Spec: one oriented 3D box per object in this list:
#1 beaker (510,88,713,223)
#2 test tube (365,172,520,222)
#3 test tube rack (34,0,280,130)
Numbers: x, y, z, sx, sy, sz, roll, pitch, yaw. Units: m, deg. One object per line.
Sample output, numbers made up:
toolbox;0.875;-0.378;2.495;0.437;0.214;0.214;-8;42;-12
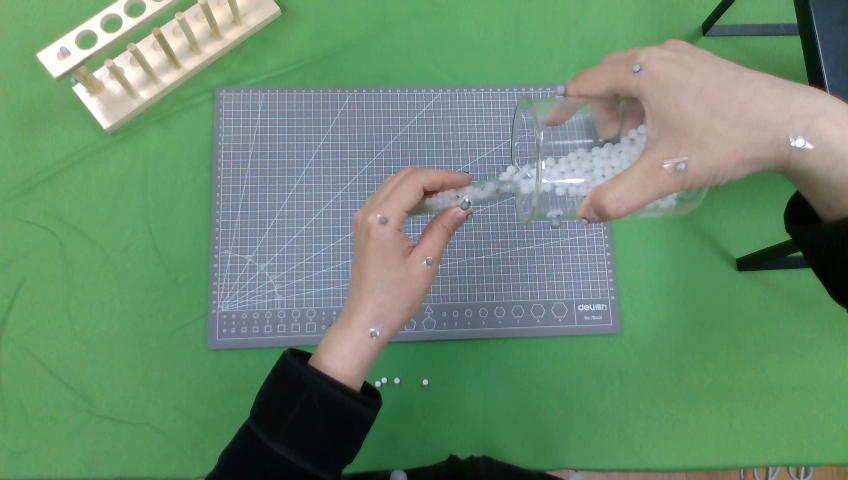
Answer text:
beaker;0.105;-0.047;0.354;0.100;0.084;0.073;-2;74;-2
test tube;0.007;-0.029;0.441;0.017;0.149;0.017;7;79;-43
test tube rack;-0.283;-0.231;0.668;0.242;0.085;0.066;-39;83;-10
